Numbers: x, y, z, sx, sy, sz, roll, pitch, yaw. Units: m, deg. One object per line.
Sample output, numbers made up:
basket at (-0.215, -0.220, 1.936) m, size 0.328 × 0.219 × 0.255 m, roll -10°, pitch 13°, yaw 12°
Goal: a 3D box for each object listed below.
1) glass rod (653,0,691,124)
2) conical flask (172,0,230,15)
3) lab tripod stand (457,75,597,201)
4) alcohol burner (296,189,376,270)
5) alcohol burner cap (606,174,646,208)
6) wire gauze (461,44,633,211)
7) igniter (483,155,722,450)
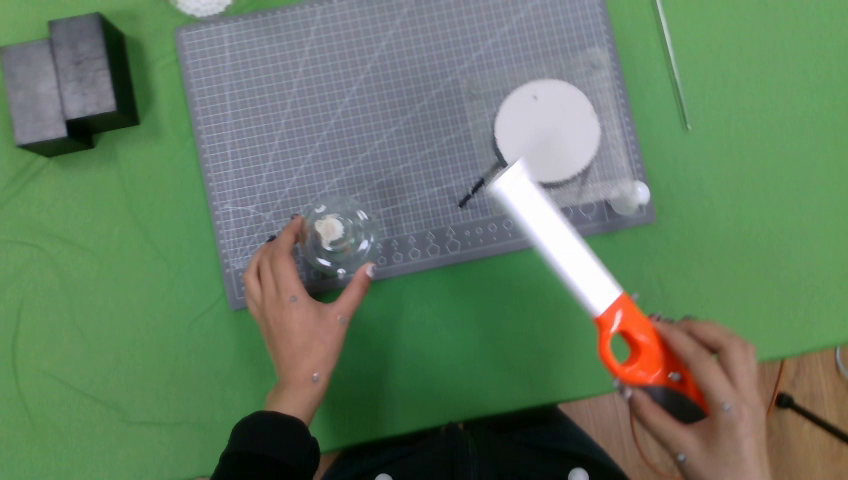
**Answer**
glass rod at (0.257, -0.220, 0.644) m, size 0.008 × 0.008 × 0.199 m, roll -13°, pitch 87°, yaw -3°
conical flask at (-0.229, -0.274, 0.576) m, size 0.075 × 0.122 × 0.075 m, roll 0°, pitch 86°, yaw -2°
lab tripod stand at (0.096, -0.086, 0.568) m, size 0.148 × 0.131 × 0.148 m, roll 0°, pitch 88°, yaw -1°
alcohol burner at (-0.084, -0.011, 0.568) m, size 0.078 × 0.119 × 0.078 m, roll 0°, pitch 88°, yaw -2°
alcohol burner cap at (0.208, -0.051, 0.615) m, size 0.034 × 0.048 × 0.034 m, roll 0°, pitch 87°, yaw -1°
wire gauze at (0.102, -0.092, 0.501) m, size 0.125 × 0.011 × 0.121 m, roll -11°, pitch 88°, yaw -1°
igniter at (0.142, 0.052, 0.460) m, size 0.057 × 0.025 × 0.277 m, roll -42°, pitch 99°, yaw -12°
